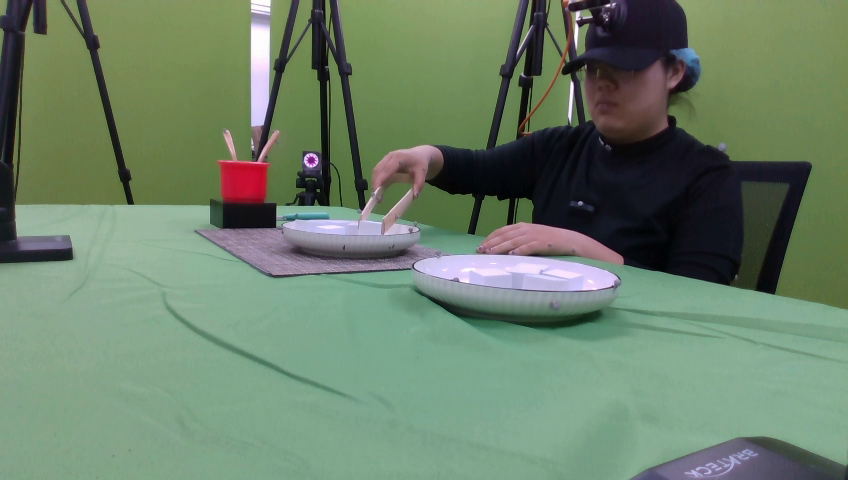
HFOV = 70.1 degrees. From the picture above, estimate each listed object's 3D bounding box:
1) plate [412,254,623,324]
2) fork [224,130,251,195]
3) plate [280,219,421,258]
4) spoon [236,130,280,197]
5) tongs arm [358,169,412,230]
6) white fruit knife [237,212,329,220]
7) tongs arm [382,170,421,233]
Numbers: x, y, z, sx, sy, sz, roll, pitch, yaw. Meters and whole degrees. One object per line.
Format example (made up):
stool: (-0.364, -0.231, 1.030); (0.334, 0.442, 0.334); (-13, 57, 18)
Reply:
plate: (0.091, 0.047, 0.609); (0.209, 0.038, 0.209); (2, 7, 0)
fork: (-0.372, -0.155, 1.193); (0.028, 0.018, 0.206); (-17, 54, -13)
plate: (-0.108, -0.002, 0.902); (0.208, 0.039, 0.207); (3, 7, 0)
spoon: (-0.321, -0.154, 1.192); (0.041, 0.193, 0.022); (0, -37, 19)
tongs arm: (-0.060, -0.078, 1.041); (0.051, 0.026, 0.384); (5, 17, 1)
white fruit knife: (-0.304, -0.050, 1.328); (0.208, 0.016, 0.027); (-3, -19, -29)
tongs arm: (-0.037, -0.075, 1.039); (0.028, 0.028, 0.387); (3, 16, 6)
